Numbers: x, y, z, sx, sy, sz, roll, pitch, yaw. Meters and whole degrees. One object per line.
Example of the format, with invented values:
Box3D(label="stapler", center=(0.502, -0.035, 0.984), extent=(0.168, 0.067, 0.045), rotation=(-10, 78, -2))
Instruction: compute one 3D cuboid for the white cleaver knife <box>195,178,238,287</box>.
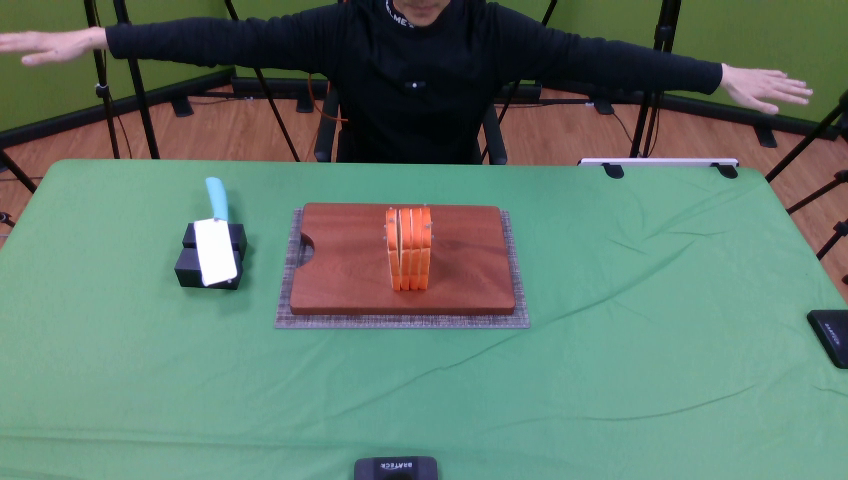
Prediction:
Box3D(label="white cleaver knife", center=(-0.393, -0.024, 1.132), extent=(0.066, 0.021, 0.284), rotation=(-11, 46, -14))

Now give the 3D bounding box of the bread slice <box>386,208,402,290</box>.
Box3D(label="bread slice", center=(-0.053, 0.009, 1.069), extent=(0.019, 0.132, 0.104), rotation=(-5, 46, 0))

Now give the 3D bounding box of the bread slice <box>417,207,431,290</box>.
Box3D(label="bread slice", center=(0.000, 0.009, 1.071), extent=(0.018, 0.135, 0.106), rotation=(0, 49, -4))
